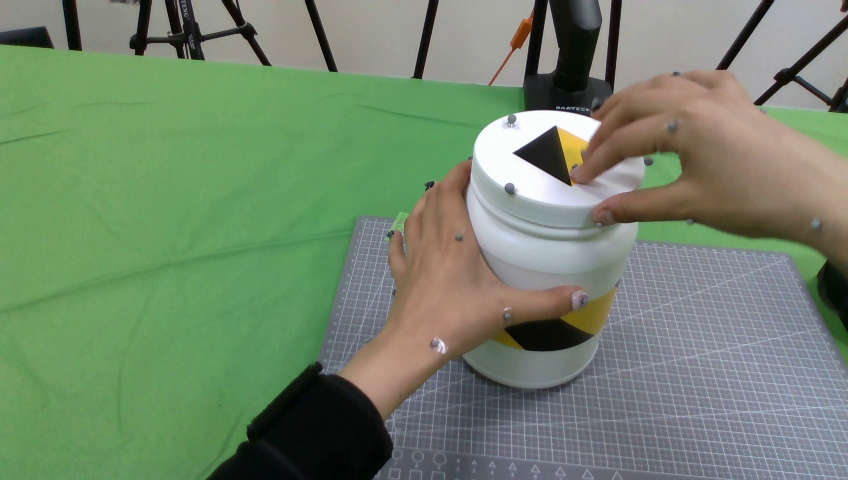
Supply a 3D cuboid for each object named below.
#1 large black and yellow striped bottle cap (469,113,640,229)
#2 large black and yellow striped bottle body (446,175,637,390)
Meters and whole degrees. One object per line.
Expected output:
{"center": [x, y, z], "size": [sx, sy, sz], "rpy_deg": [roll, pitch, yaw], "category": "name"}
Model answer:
{"center": [0.088, -0.051, 0.413], "size": [0.115, 0.019, 0.114], "rpy_deg": [3, 43, -2], "category": "large black and yellow striped bottle cap"}
{"center": [0.087, 0.014, 0.471], "size": [0.131, 0.185, 0.129], "rpy_deg": [2, 42, -1], "category": "large black and yellow striped bottle body"}
